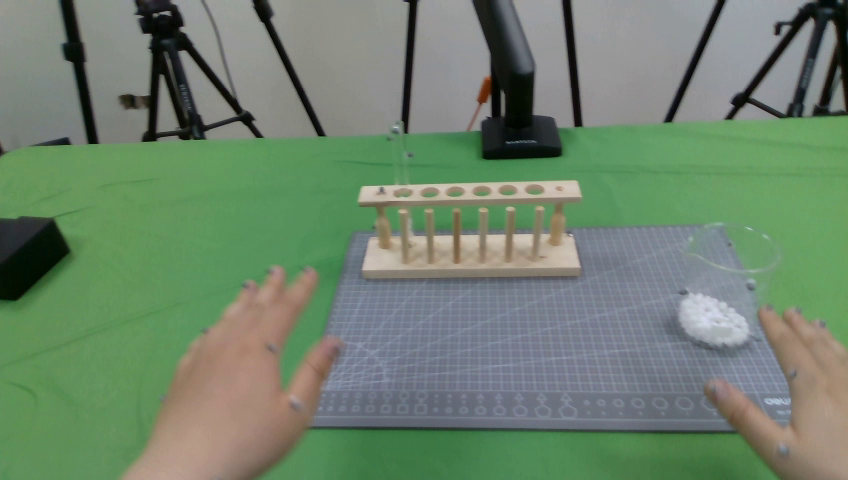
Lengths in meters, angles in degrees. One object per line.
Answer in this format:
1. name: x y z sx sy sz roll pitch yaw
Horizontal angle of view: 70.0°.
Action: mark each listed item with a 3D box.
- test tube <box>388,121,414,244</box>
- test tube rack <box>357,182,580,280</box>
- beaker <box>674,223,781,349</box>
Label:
1. test tube: -0.024 -0.060 0.673 0.017 0.151 0.017 -3 33 2
2. test tube rack: 0.049 -0.010 0.680 0.242 0.086 0.066 -1 36 5
3. beaker: 0.275 0.046 0.566 0.084 0.101 0.073 -1 36 6
